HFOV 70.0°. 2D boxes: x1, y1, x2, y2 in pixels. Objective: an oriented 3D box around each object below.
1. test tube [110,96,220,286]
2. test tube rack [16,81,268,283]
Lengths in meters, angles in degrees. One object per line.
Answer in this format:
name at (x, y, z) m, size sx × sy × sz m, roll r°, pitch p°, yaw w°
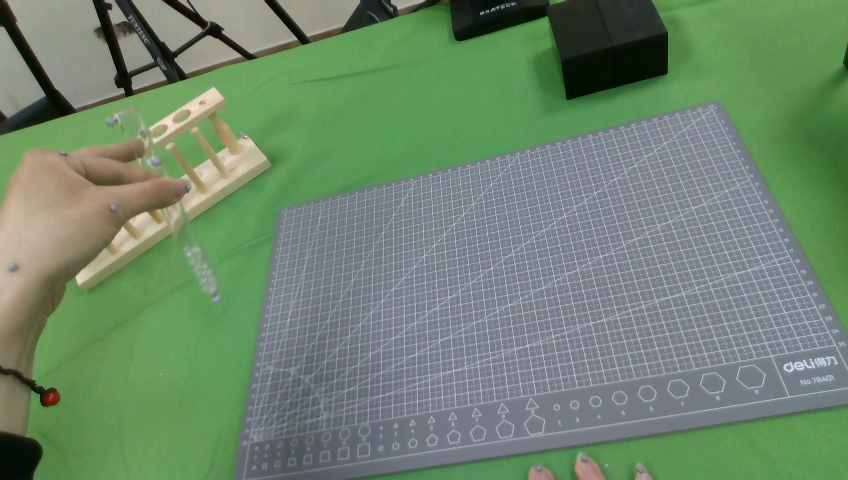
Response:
test tube at (-0.183, -0.030, 0.437) m, size 0.017 × 0.151 × 0.017 m, roll -12°, pitch 28°, yaw 7°
test tube rack at (-0.304, -0.066, 0.669) m, size 0.242 × 0.086 × 0.066 m, roll -36°, pitch 50°, yaw -10°
